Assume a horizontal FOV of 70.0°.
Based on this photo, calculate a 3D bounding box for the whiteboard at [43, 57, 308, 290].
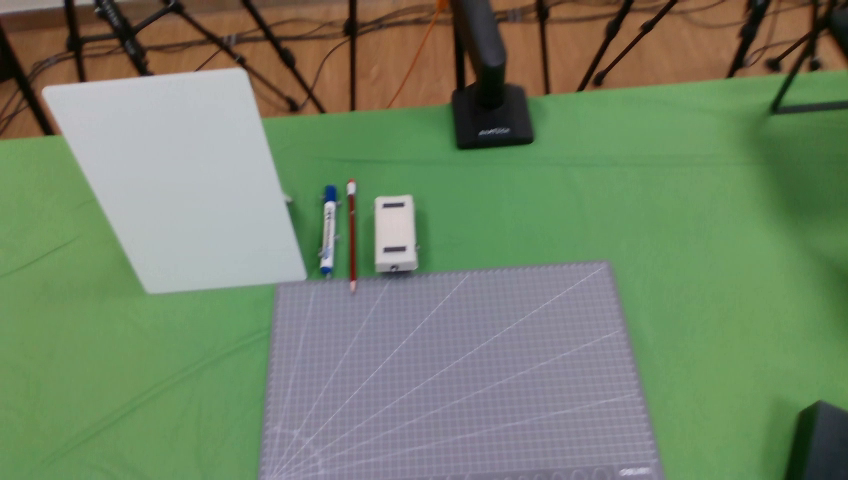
[{"bbox_3d":[-0.276,-0.102,0.769,0.217,0.308,0.142,-4,40,2],"label":"whiteboard"}]

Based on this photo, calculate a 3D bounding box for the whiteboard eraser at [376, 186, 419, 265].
[{"bbox_3d":[-0.037,-0.019,0.822,0.055,0.042,0.111,-5,60,2],"label":"whiteboard eraser"}]

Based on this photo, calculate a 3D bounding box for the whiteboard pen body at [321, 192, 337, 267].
[{"bbox_3d":[-0.132,-0.026,0.846,0.017,0.017,0.139,-3,59,2],"label":"whiteboard pen body"}]

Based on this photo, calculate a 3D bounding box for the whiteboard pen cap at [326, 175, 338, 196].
[{"bbox_3d":[-0.132,-0.077,0.875,0.018,0.018,0.033,-5,58,1],"label":"whiteboard pen cap"}]

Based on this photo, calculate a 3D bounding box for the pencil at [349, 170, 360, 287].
[{"bbox_3d":[-0.096,-0.020,0.844,0.012,0.012,0.192,-7,59,0],"label":"pencil"}]
